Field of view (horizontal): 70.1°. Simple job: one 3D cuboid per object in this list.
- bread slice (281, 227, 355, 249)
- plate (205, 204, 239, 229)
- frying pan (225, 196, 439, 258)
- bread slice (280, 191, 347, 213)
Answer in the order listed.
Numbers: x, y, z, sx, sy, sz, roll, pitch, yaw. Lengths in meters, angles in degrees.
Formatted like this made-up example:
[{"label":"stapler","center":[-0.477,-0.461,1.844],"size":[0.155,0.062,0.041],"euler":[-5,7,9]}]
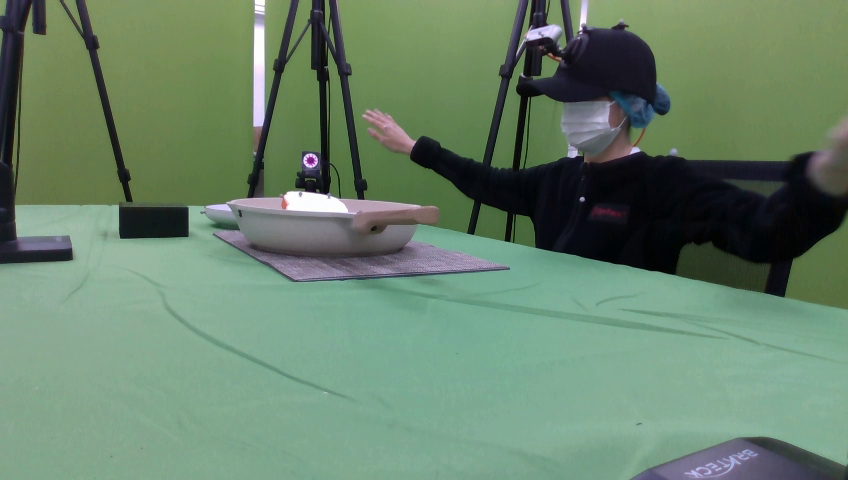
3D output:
[{"label":"bread slice","center":[-0.170,-0.005,0.943],"size":[0.107,0.018,0.134],"euler":[2,7,-15]},{"label":"plate","center":[-0.324,-0.046,1.199],"size":[0.208,0.039,0.207],"euler":[3,7,0]},{"label":"frying pan","center":[-0.103,-0.027,0.845],"size":[0.308,0.102,0.486],"euler":[-1,0,-25]},{"label":"bread slice","center":[-0.171,-0.049,0.934],"size":[0.105,0.019,0.131],"euler":[7,18,-20]}]
